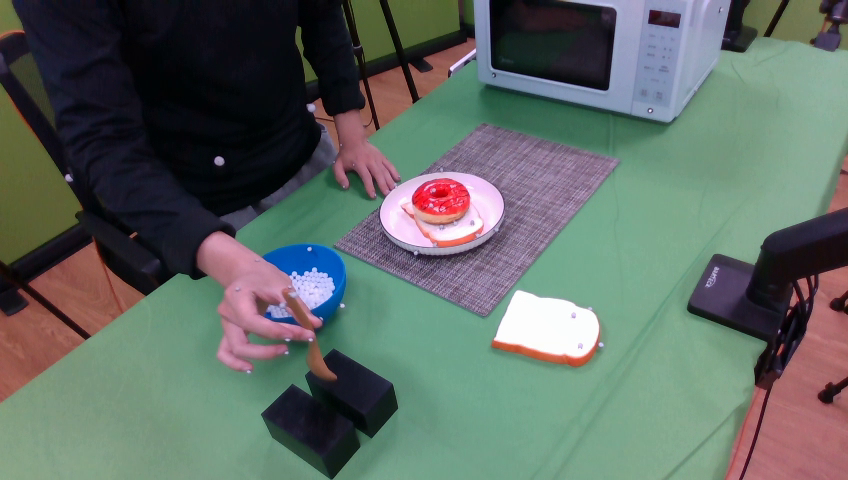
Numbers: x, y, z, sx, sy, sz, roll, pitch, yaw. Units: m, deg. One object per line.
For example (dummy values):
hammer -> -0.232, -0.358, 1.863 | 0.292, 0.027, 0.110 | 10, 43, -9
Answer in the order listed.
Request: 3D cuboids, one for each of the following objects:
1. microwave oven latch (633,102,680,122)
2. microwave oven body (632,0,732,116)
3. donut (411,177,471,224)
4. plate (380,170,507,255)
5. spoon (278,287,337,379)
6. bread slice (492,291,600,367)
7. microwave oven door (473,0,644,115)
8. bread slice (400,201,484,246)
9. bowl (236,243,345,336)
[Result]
microwave oven latch -> 0.444, -0.249, 1.157 | 0.078, 0.029, 0.030 | 21, 49, 30
microwave oven body -> 0.377, -0.462, 1.267 | 0.438, 0.261, 0.327 | 21, 48, 30
donut -> 0.028, -0.064, 0.978 | 0.099, 0.048, 0.098 | -4, 40, 4
plate -> 0.033, -0.042, 0.995 | 0.207, 0.039, 0.206 | -4, 40, 4
spoon -> -0.124, 0.101, 0.638 | 0.041, 0.194, 0.022 | 28, 58, 24
bread slice -> 0.169, 0.118, 0.811 | 0.131, 0.019, 0.105 | 11, 44, 21
microwave oven door -> 0.257, -0.396, 1.199 | 0.353, 0.245, 0.039 | 21, 48, 29
bread slice -> 0.037, -0.038, 0.991 | 0.107, 0.018, 0.133 | -23, 42, -17
bowl -> -0.180, 0.082, 0.855 | 0.151, 0.077, 0.150 | -4, 41, 4
